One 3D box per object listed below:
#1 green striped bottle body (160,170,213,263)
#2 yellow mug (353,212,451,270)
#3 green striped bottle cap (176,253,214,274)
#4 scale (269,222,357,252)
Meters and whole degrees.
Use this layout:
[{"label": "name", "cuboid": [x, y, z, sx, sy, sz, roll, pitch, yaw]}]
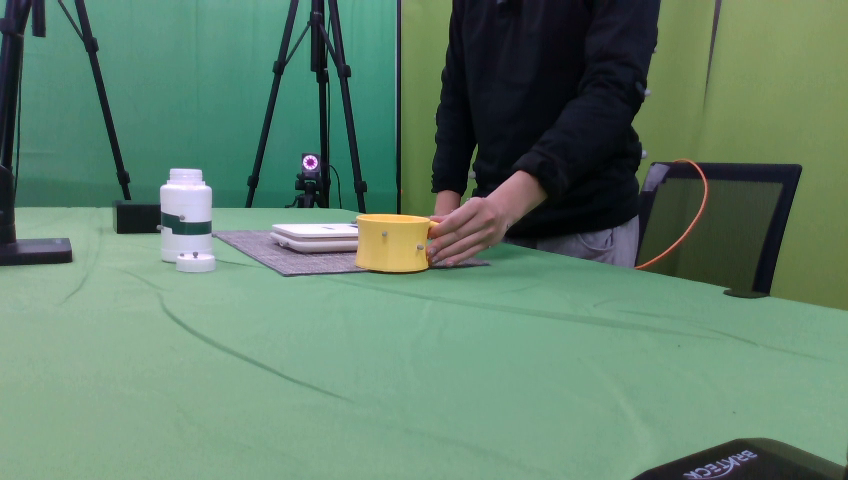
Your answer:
[{"label": "green striped bottle body", "cuboid": [-0.312, -0.033, 0.797, 0.063, 0.119, 0.063, 2, 7, 0]}, {"label": "yellow mug", "cuboid": [-0.027, 0.000, 0.807, 0.131, 0.064, 0.099, 1, 7, -13]}, {"label": "green striped bottle cap", "cuboid": [-0.280, 0.029, 0.741, 0.044, 0.020, 0.044, 7, 4, 0]}, {"label": "scale", "cuboid": [-0.132, -0.007, 0.965, 0.202, 0.031, 0.148, -1, 8, -31]}]
